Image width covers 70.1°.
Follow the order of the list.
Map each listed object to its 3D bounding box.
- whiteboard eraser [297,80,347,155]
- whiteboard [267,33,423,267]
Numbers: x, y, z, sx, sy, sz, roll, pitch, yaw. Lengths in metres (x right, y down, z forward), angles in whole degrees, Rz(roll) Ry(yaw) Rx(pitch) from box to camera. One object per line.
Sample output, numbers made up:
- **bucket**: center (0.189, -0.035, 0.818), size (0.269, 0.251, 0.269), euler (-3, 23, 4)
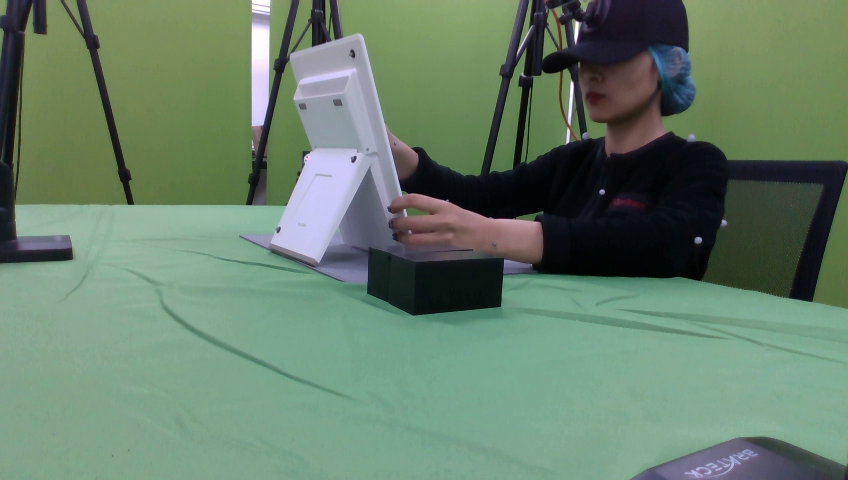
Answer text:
- **whiteboard eraser**: center (-0.160, -0.187, 0.935), size (0.042, 0.113, 0.055), euler (-28, 17, -29)
- **whiteboard**: center (-0.153, -0.097, 0.819), size (0.144, 0.305, 0.216), euler (-25, 21, -29)
